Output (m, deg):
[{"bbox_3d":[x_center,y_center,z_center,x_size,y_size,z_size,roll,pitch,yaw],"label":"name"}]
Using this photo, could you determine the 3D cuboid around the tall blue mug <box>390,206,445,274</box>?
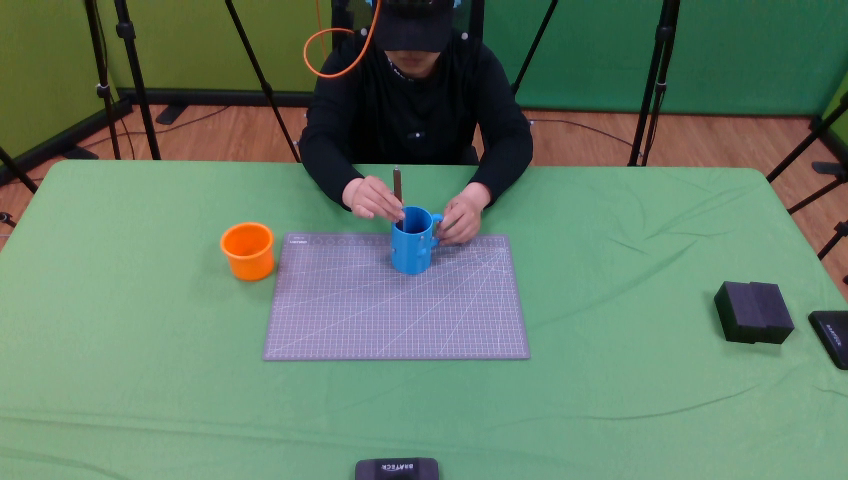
[{"bbox_3d":[-0.017,-0.008,1.142,0.077,0.108,0.107,23,49,19],"label":"tall blue mug"}]

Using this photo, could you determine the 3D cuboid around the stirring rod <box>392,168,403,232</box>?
[{"bbox_3d":[-0.046,-0.051,1.073,0.014,0.177,0.006,17,43,20],"label":"stirring rod"}]
